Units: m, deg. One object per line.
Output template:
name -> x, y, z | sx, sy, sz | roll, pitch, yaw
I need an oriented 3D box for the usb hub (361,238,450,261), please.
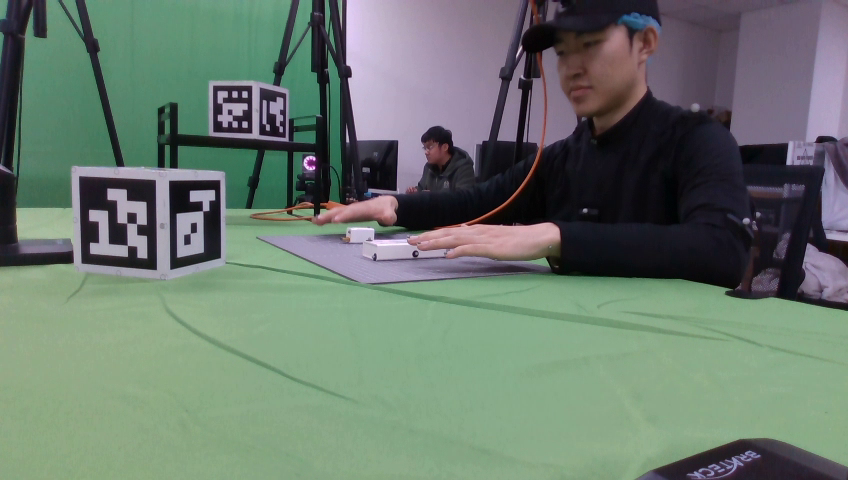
usb hub -> -0.026, 0.013, 0.894 | 0.126, 0.025, 0.049 | -1, 8, -31

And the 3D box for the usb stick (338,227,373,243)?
usb stick -> -0.117, -0.009, 1.030 | 0.059, 0.027, 0.021 | -4, 11, -30
